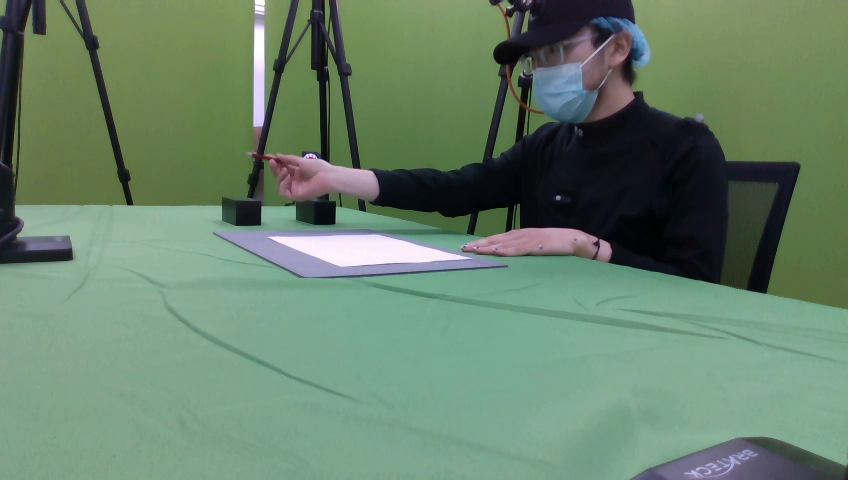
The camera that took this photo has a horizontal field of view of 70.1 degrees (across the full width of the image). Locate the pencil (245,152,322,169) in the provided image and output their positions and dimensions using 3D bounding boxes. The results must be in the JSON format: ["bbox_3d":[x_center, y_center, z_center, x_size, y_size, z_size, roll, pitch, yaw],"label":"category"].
[{"bbox_3d":[-0.282,-0.162,1.227,0.012,0.012,0.195,8,3,37],"label":"pencil"}]
